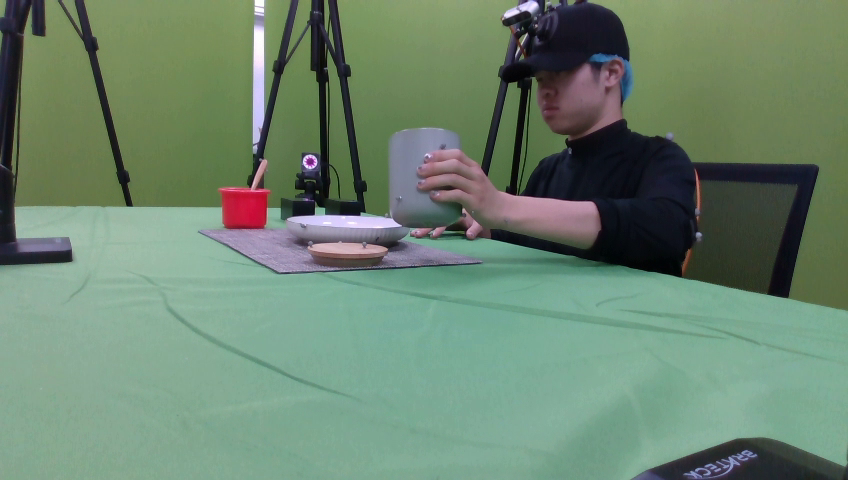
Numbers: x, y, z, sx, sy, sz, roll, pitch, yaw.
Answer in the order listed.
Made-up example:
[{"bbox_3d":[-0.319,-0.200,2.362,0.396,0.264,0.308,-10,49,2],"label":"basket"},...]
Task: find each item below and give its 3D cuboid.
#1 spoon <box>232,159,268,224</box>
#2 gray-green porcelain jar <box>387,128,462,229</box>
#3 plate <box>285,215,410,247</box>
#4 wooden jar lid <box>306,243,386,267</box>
[{"bbox_3d":[-0.342,-0.101,1.218,0.041,0.021,0.193,4,51,4],"label":"spoon"},{"bbox_3d":[0.000,-0.083,0.861,0.106,0.126,0.106,-2,-8,0],"label":"gray-green porcelain jar"},{"bbox_3d":[-0.127,-0.015,1.012,0.208,0.039,0.207,3,7,0],"label":"plate"},{"bbox_3d":[-0.105,0.020,0.817,0.108,0.020,0.108,1,7,0],"label":"wooden jar lid"}]
